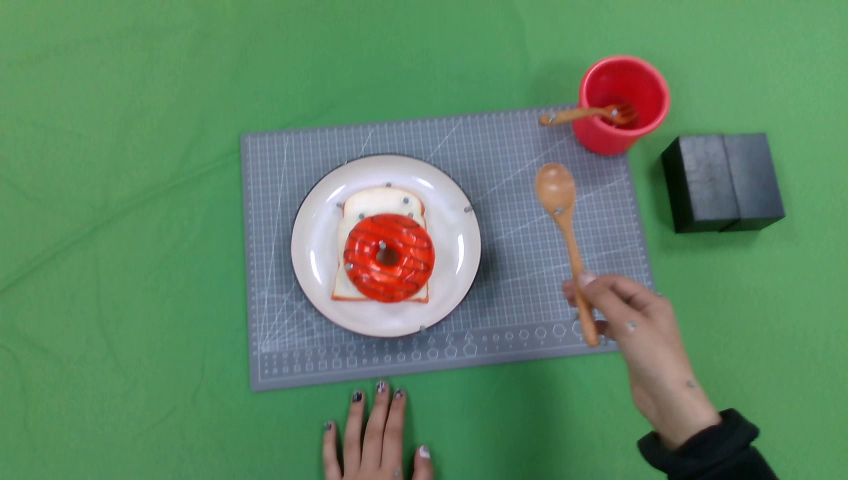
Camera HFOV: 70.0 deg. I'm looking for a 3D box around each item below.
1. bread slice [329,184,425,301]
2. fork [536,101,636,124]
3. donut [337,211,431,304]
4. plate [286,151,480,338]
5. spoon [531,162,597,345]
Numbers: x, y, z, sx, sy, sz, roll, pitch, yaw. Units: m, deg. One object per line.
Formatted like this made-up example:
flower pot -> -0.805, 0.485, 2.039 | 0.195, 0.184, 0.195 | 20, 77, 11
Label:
bread slice -> -0.051, 0.002, 0.667 | 0.105, 0.019, 0.131 | 0, 77, -3
fork -> 0.177, -0.136, 0.650 | 0.208, 0.018, 0.028 | -15, 71, -49
donut -> -0.041, 0.018, 0.633 | 0.099, 0.048, 0.098 | 1, 79, -4
plate -> -0.044, 0.006, 0.664 | 0.209, 0.038, 0.208 | 1, 76, -2
spoon -> 0.130, 0.005, 0.551 | 0.042, 0.022, 0.191 | 3, 53, -11
